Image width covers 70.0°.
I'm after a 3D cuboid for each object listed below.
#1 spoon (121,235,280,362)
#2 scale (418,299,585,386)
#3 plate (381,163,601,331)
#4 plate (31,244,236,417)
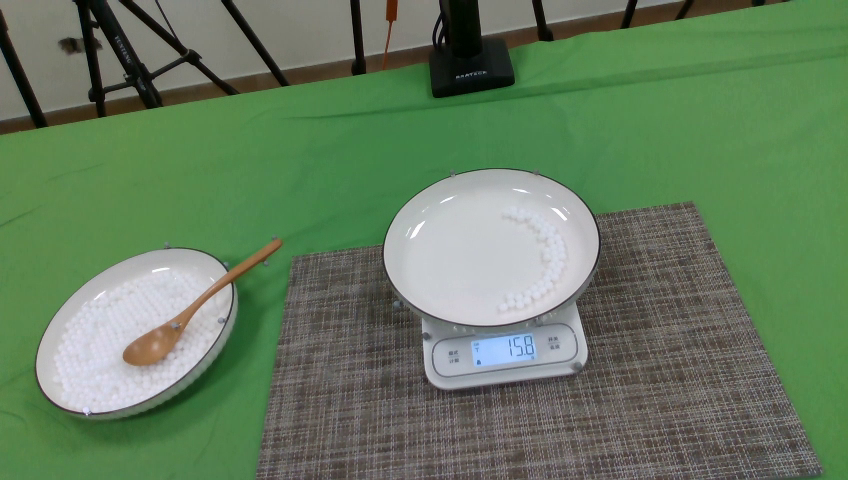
[{"bbox_3d":[-0.226,0.057,0.629,0.193,0.022,0.041,-43,54,-16],"label":"spoon"},{"bbox_3d":[0.066,0.043,0.599,0.148,0.032,0.199,-9,47,5],"label":"scale"},{"bbox_3d":[0.064,0.006,0.589,0.207,0.039,0.205,-6,47,6],"label":"plate"},{"bbox_3d":[-0.296,0.092,0.634,0.209,0.038,0.207,-6,47,6],"label":"plate"}]
